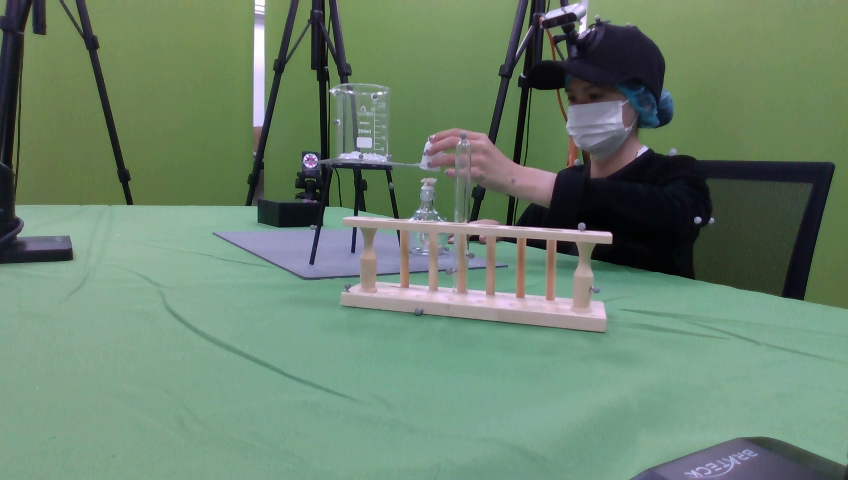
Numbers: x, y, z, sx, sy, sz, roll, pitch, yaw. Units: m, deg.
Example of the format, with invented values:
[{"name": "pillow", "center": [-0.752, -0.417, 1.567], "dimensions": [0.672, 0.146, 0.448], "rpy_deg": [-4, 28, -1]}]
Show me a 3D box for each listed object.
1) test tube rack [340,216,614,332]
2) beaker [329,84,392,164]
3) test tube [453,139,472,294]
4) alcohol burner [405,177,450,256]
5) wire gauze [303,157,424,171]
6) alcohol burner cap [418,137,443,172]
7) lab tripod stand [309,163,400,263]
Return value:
[{"name": "test tube rack", "center": [0.048, 0.026, 0.568], "dimensions": [0.242, 0.085, 0.067], "rpy_deg": [4, 8, 13]}, {"name": "beaker", "center": [-0.084, -0.149, 0.794], "dimensions": [0.084, 0.100, 0.073], "rpy_deg": [-1, 6, -23]}, {"name": "test tube", "center": [0.037, -0.021, 0.584], "dimensions": [0.017, 0.150, 0.017], "rpy_deg": [1, 7, 0]}, {"name": "alcohol burner", "center": [0.004, -0.036, 0.917], "dimensions": [0.078, 0.119, 0.078], "rpy_deg": [4, 6, 0]}, {"name": "wire gauze", "center": [-0.082, -0.101, 0.799], "dimensions": [0.126, 0.011, 0.121], "rpy_deg": [1, 7, -30]}, {"name": "alcohol burner cap", "center": [0.012, -0.128, 0.891], "dimensions": [0.034, 0.048, 0.034], "rpy_deg": [11, 17, -3]}, {"name": "lab tripod stand", "center": [-0.091, -0.037, 0.813], "dimensions": [0.148, 0.131, 0.148], "rpy_deg": [1, 6, 0]}]
